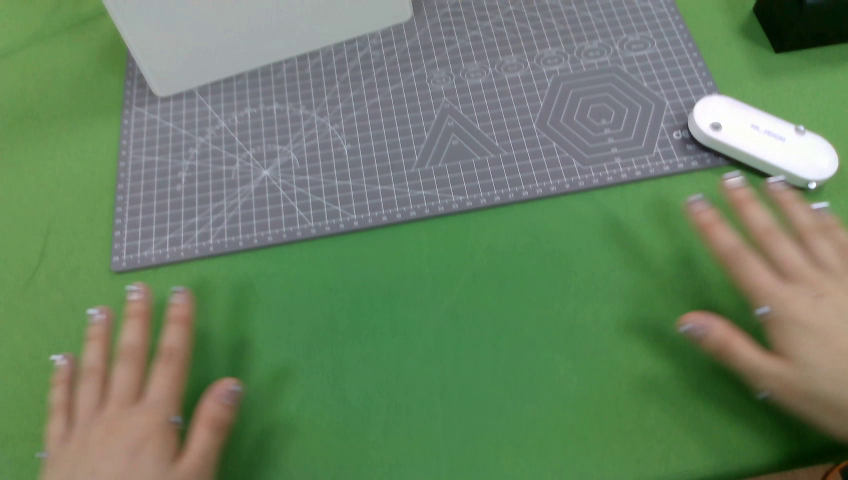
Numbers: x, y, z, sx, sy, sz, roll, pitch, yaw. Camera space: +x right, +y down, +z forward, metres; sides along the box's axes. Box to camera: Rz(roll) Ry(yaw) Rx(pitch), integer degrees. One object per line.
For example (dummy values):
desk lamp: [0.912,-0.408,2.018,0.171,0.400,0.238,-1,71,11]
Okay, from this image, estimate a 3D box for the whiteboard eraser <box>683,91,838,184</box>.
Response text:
whiteboard eraser: [0.232,-0.072,0.420,0.101,0.019,0.041,28,68,14]

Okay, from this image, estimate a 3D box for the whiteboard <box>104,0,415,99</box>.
whiteboard: [-0.154,-0.297,0.426,0.217,0.308,0.142,-19,45,-5]
